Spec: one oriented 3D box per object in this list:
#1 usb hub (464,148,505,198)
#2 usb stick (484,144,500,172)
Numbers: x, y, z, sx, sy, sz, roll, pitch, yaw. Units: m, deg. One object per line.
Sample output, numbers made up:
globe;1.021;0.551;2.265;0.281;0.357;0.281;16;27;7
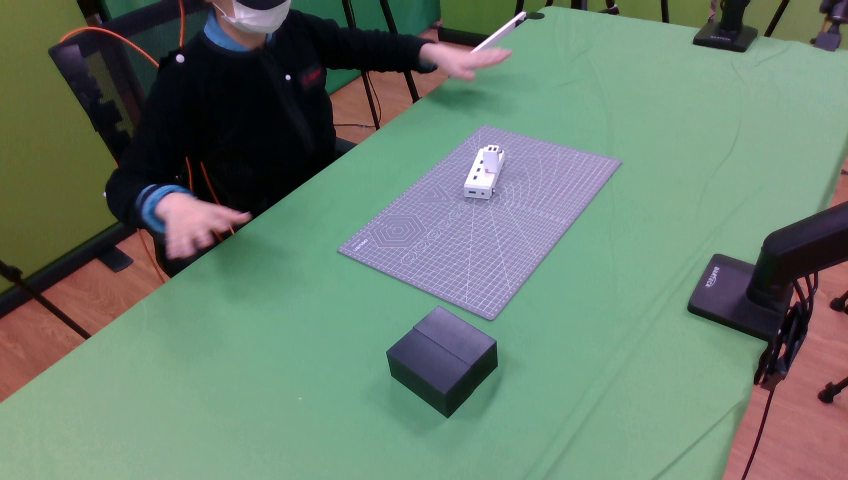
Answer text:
usb hub;0.110;-0.121;1.087;0.049;0.025;0.125;8;43;16
usb stick;0.119;-0.137;1.058;0.027;0.059;0.021;9;45;14
